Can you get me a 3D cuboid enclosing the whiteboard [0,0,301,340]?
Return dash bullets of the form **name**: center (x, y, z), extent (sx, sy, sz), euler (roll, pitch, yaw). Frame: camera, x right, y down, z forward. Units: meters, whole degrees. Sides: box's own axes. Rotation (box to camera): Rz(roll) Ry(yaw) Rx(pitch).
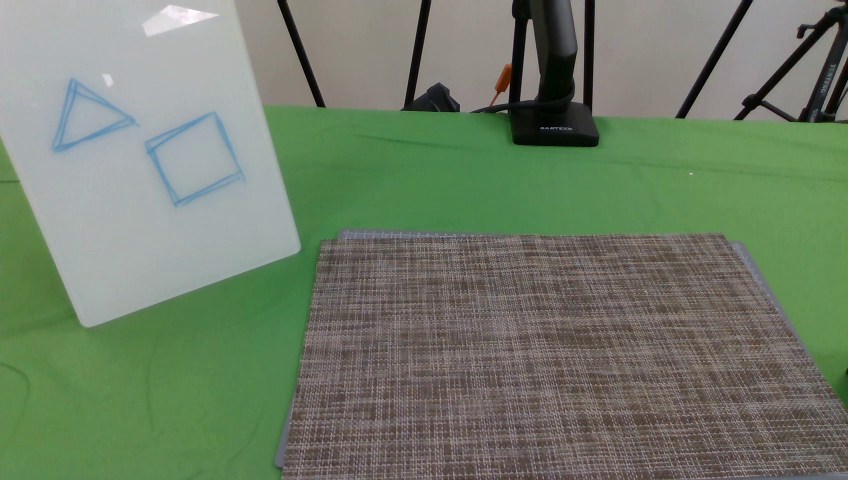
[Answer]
- **whiteboard**: center (-0.282, -0.098, 0.603), extent (0.217, 0.307, 0.142), euler (-22, 23, -26)
